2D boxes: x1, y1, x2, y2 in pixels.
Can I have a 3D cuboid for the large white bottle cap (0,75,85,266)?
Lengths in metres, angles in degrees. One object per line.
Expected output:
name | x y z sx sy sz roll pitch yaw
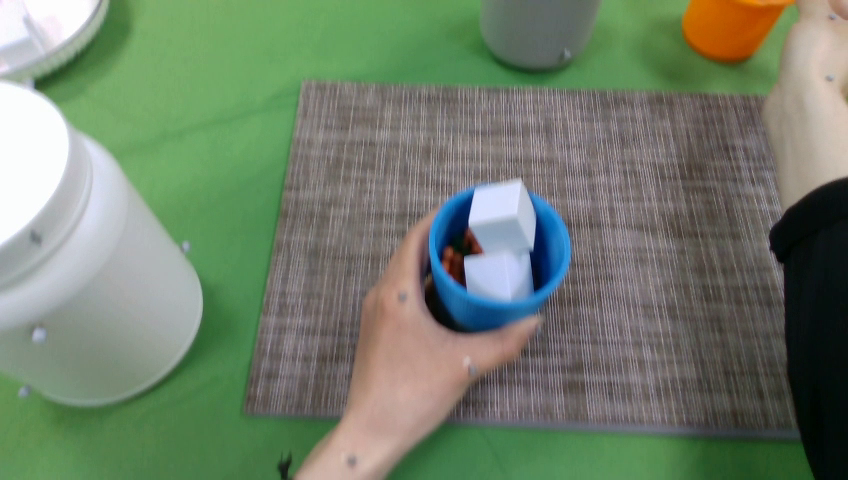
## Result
large white bottle cap | -0.221 -0.031 0.283 0.115 0.018 0.114 1 61 -1

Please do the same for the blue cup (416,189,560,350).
blue cup | 0.039 0.029 0.403 0.092 0.101 0.092 0 62 1

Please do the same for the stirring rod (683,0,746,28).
stirring rod | 0.313 -0.230 0.525 0.175 0.006 0.014 -20 47 38

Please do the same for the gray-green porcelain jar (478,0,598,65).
gray-green porcelain jar | 0.102 -0.228 0.527 0.106 0.127 0.105 0 61 0

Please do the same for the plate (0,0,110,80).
plate | -0.393 -0.214 0.560 0.208 0.039 0.206 1 61 -1

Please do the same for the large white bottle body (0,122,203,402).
large white bottle body | -0.222 0.010 0.357 0.130 0.186 0.129 1 61 -1
